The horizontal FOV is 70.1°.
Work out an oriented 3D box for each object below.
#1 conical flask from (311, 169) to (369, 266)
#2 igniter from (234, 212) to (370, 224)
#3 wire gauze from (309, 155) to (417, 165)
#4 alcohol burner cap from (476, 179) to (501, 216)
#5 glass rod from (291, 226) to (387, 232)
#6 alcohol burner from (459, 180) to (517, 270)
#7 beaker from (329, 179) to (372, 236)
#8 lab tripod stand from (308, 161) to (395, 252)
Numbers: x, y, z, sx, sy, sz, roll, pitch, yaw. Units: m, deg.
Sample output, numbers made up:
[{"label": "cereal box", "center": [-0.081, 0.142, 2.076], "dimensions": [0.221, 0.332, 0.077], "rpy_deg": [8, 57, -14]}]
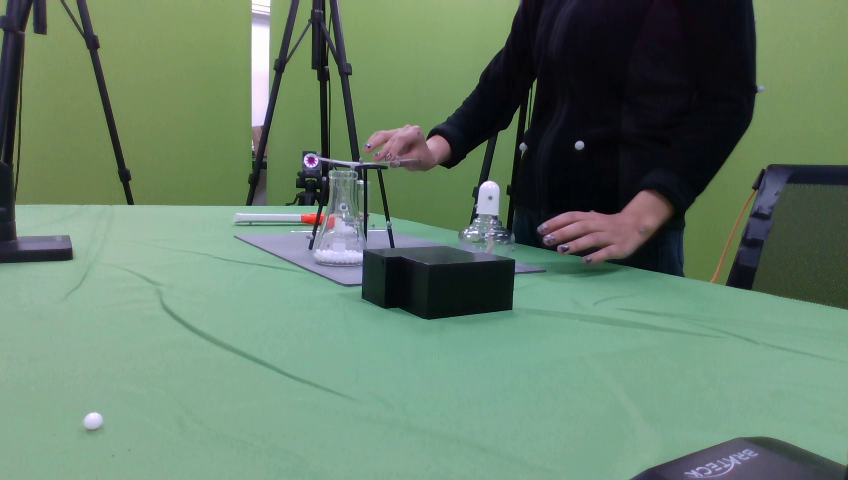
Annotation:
[{"label": "conical flask", "center": [-0.107, -0.031, 0.786], "dimensions": [0.075, 0.122, 0.075], "rpy_deg": [2, 8, 0]}, {"label": "igniter", "center": [-0.247, -0.046, 1.253], "dimensions": [0.278, 0.025, 0.057], "rpy_deg": [-1, -3, -27]}, {"label": "wire gauze", "center": [-0.094, -0.120, 0.912], "dimensions": [0.122, 0.011, 0.124], "rpy_deg": [-5, 11, -44]}, {"label": "alcohol burner cap", "center": [0.086, -0.056, 0.801], "dimensions": [0.034, 0.048, 0.034], "rpy_deg": [4, 2, 0]}, {"label": "glass rod", "center": [-0.161, -0.022, 1.177], "dimensions": [0.201, 0.008, 0.008], "rpy_deg": [-2, 8, -29]}, {"label": "alcohol burner", "center": [0.086, -0.021, 0.806], "dimensions": [0.078, 0.119, 0.078], "rpy_deg": [3, 9, 0]}, {"label": "beaker", "center": [-0.137, -0.060, 1.101], "dimensions": [0.084, 0.100, 0.074], "rpy_deg": [4, 7, 20]}, {"label": "lab tripod stand", "center": [-0.098, -0.053, 0.918], "dimensions": [0.148, 0.131, 0.148], "rpy_deg": [4, 7, 0]}]
